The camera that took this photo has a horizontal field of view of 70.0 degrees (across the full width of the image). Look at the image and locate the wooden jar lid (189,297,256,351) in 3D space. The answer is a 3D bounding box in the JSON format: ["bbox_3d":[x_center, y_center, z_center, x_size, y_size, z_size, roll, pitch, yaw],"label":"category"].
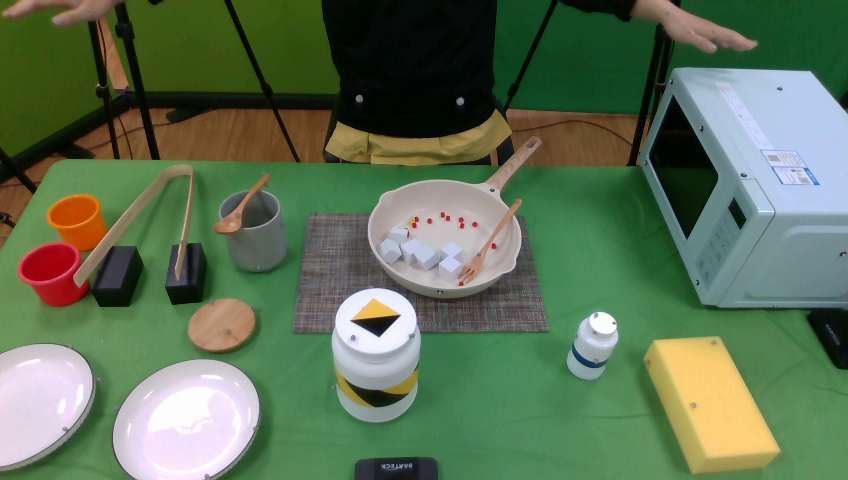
[{"bbox_3d":[-0.342,0.145,1.033,0.108,0.021,0.107,3,45,-2],"label":"wooden jar lid"}]

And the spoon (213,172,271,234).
[{"bbox_3d":[-0.312,-0.069,1.068,0.041,0.022,0.193,10,43,10],"label":"spoon"}]

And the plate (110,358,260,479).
[{"bbox_3d":[-0.349,0.273,0.899,0.208,0.039,0.206,2,46,-2],"label":"plate"}]

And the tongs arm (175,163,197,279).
[{"bbox_3d":[-0.462,-0.049,1.149,0.051,0.026,0.382,-8,36,-7],"label":"tongs arm"}]

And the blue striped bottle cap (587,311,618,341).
[{"bbox_3d":[0.279,0.134,0.947,0.044,0.021,0.044,2,45,-2],"label":"blue striped bottle cap"}]

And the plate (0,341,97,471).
[{"bbox_3d":[-0.599,0.247,0.904,0.209,0.038,0.208,2,47,-2],"label":"plate"}]

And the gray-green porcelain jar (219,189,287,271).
[{"bbox_3d":[-0.309,-0.014,1.113,0.106,0.127,0.105,2,46,-2],"label":"gray-green porcelain jar"}]

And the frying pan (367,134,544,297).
[{"bbox_3d":[0.104,-0.069,1.205,0.305,0.103,0.487,32,61,23],"label":"frying pan"}]

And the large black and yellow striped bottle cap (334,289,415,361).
[{"bbox_3d":[-0.069,0.117,0.850,0.115,0.019,0.114,2,45,-2],"label":"large black and yellow striped bottle cap"}]

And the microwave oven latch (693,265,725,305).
[{"bbox_3d":[0.523,0.082,1.116,0.030,0.029,0.078,2,46,-1],"label":"microwave oven latch"}]

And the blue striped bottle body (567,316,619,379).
[{"bbox_3d":[0.276,0.168,0.984,0.063,0.121,0.062,2,46,-2],"label":"blue striped bottle body"}]

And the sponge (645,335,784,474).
[{"bbox_3d":[0.449,0.253,0.956,0.118,0.061,0.205,-4,46,-7],"label":"sponge"}]

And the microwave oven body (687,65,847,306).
[{"bbox_3d":[0.669,-0.111,1.176,0.326,0.261,0.439,0,46,-3],"label":"microwave oven body"}]

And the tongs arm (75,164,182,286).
[{"bbox_3d":[-0.547,-0.044,1.143,0.028,0.028,0.385,-3,34,7],"label":"tongs arm"}]

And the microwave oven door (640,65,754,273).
[{"bbox_3d":[0.523,-0.147,1.193,0.039,0.245,0.353,0,47,-3],"label":"microwave oven door"}]

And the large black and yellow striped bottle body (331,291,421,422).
[{"bbox_3d":[-0.071,0.175,0.911,0.131,0.185,0.130,2,47,-2],"label":"large black and yellow striped bottle body"}]

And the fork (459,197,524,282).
[{"bbox_3d":[0.132,-0.004,1.158,0.028,0.019,0.207,28,75,30],"label":"fork"}]
